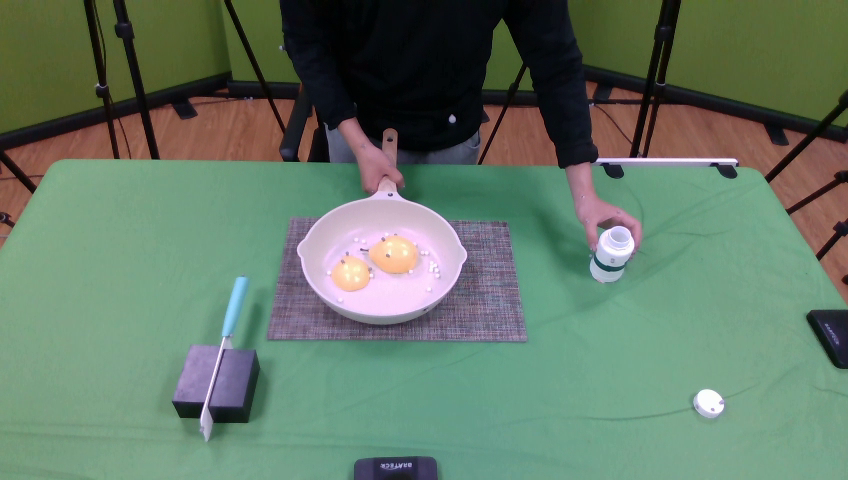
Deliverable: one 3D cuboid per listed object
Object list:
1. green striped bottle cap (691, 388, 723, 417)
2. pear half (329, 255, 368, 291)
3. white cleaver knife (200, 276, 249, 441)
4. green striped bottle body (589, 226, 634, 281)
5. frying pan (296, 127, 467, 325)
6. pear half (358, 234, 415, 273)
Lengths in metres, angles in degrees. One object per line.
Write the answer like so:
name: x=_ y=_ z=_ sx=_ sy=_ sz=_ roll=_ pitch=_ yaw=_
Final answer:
green striped bottle cap: x=0.460 y=0.263 z=0.984 sx=0.044 sy=0.020 sz=0.044 roll=3 pitch=47 yaw=-3
pear half: x=-0.140 y=0.053 z=1.122 sx=0.070 sy=0.031 sz=0.087 roll=-7 pitch=50 yaw=-16
white cleaver knife: x=-0.321 y=0.177 z=0.971 sx=0.021 sy=0.066 sz=0.284 roll=7 pitch=48 yaw=-5
green striped bottle body: x=0.351 y=0.022 z=1.130 sx=0.063 sy=0.120 sz=0.063 roll=-1 pitch=56 yaw=1
frying pan: x=-0.075 y=-0.044 z=1.172 sx=0.307 sy=0.103 sz=0.485 roll=3 pitch=55 yaw=-2
pear half: x=-0.074 y=0.017 z=1.146 sx=0.110 sy=0.056 sz=0.076 roll=8 pitch=41 yaw=7
